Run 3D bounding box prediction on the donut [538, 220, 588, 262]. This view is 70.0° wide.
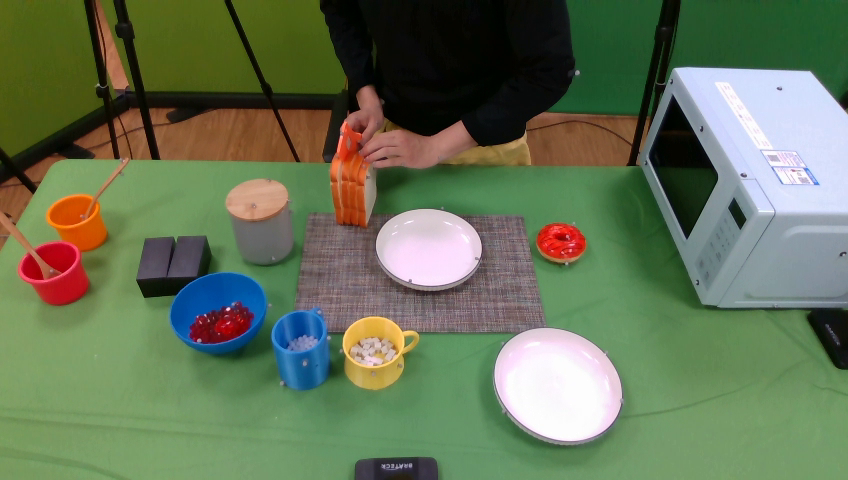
[{"bbox_3d":[0.273,0.000,1.198,0.099,0.048,0.098,0,46,0],"label":"donut"}]

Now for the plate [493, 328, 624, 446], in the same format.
[{"bbox_3d":[0.213,0.236,0.974,0.208,0.039,0.206,2,46,-2],"label":"plate"}]

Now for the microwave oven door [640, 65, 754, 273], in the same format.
[{"bbox_3d":[0.523,-0.147,1.193,0.039,0.245,0.353,0,47,-3],"label":"microwave oven door"}]

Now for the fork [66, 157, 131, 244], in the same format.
[{"bbox_3d":[-0.608,-0.074,1.132,0.207,0.019,0.028,-52,48,10],"label":"fork"}]

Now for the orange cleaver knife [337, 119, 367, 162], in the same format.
[{"bbox_3d":[-0.144,-0.197,1.223,0.012,0.077,0.211,8,7,6],"label":"orange cleaver knife"}]

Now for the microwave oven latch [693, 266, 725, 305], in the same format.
[{"bbox_3d":[0.523,0.082,1.115,0.030,0.029,0.078,3,46,0],"label":"microwave oven latch"}]

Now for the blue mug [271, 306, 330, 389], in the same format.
[{"bbox_3d":[-0.188,0.163,0.969,0.082,0.106,0.116,15,47,10],"label":"blue mug"}]

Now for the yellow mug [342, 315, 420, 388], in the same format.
[{"bbox_3d":[-0.068,0.177,0.990,0.131,0.064,0.099,-15,50,-19],"label":"yellow mug"}]

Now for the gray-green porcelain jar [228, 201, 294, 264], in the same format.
[{"bbox_3d":[-0.299,-0.027,1.126,0.106,0.127,0.105,2,46,-2],"label":"gray-green porcelain jar"}]

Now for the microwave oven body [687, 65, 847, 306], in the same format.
[{"bbox_3d":[0.669,-0.111,1.176,0.326,0.261,0.439,0,46,-3],"label":"microwave oven body"}]

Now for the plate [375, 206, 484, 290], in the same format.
[{"bbox_3d":[0.009,0.019,1.160,0.209,0.038,0.208,2,47,-2],"label":"plate"}]

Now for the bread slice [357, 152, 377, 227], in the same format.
[{"bbox_3d":[-0.114,-0.107,1.212,0.018,0.135,0.106,9,47,6],"label":"bread slice"}]

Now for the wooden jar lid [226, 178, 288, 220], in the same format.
[{"bbox_3d":[-0.296,-0.070,1.081,0.108,0.021,0.107,1,45,0],"label":"wooden jar lid"}]

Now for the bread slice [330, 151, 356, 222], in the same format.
[{"bbox_3d":[-0.163,-0.117,1.218,0.019,0.132,0.104,3,41,9],"label":"bread slice"}]

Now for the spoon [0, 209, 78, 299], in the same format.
[{"bbox_3d":[-0.668,0.021,1.040,0.041,0.021,0.194,-41,105,-30],"label":"spoon"}]

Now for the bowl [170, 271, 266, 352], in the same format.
[{"bbox_3d":[-0.333,0.132,1.006,0.151,0.077,0.150,2,46,-2],"label":"bowl"}]
